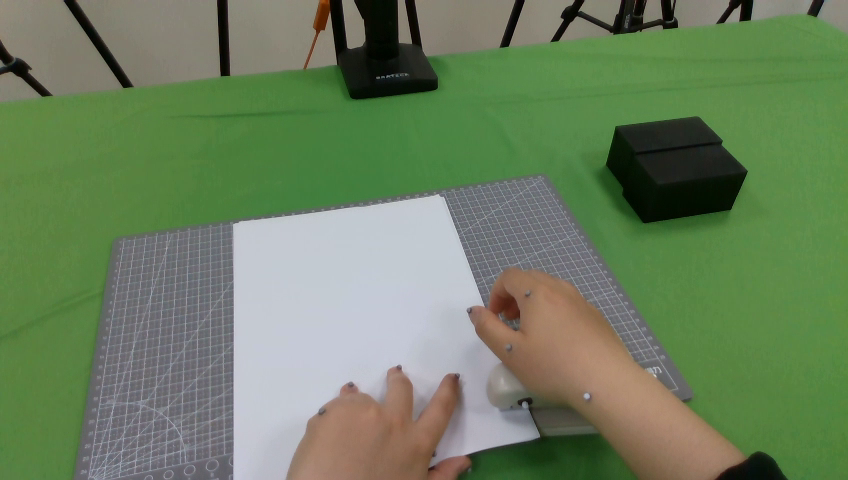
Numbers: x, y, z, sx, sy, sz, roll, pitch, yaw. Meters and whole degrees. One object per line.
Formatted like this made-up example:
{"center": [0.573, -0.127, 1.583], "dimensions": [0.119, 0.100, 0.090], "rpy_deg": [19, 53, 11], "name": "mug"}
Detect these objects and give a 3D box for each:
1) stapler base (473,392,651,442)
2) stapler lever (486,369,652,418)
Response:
{"center": [0.103, 0.122, 0.448], "dimensions": [0.131, 0.024, 0.041], "rpy_deg": [-2, 46, -5], "name": "stapler base"}
{"center": [0.104, 0.109, 0.436], "dimensions": [0.118, 0.040, 0.026], "rpy_deg": [-7, 46, 0], "name": "stapler lever"}
